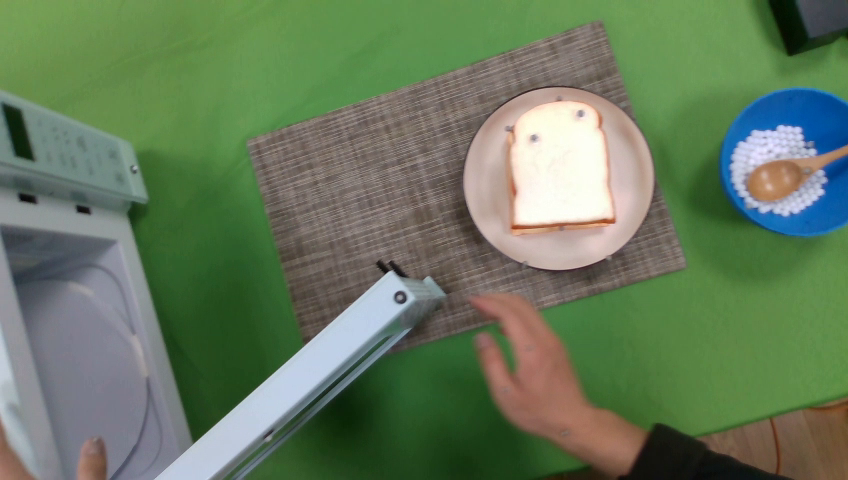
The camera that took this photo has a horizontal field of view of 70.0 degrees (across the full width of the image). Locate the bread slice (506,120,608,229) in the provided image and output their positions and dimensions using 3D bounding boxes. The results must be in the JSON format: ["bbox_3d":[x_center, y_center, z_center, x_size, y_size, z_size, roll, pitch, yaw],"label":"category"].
[{"bbox_3d":[0.141,-0.081,0.681,0.107,0.018,0.134,-8,85,6],"label":"bread slice"}]

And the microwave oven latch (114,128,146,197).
[{"bbox_3d":[-0.363,-0.093,0.731,0.030,0.029,0.079,-19,85,5],"label":"microwave oven latch"}]

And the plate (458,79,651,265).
[{"bbox_3d":[0.144,-0.074,0.681,0.207,0.039,0.207,0,87,7],"label":"plate"}]

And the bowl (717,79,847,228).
[{"bbox_3d":[0.376,-0.083,0.635,0.151,0.077,0.151,0,86,7],"label":"bowl"}]

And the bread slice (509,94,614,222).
[{"bbox_3d":[0.137,-0.085,0.624,0.104,0.019,0.131,-5,84,13],"label":"bread slice"}]

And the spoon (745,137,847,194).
[{"bbox_3d":[0.420,-0.097,0.599,0.193,0.022,0.041,-25,80,27],"label":"spoon"}]

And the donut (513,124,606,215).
[{"bbox_3d":[0.144,-0.075,0.649,0.099,0.048,0.099,0,87,1],"label":"donut"}]

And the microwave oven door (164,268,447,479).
[{"bbox_3d":[-0.132,0.154,0.586,0.356,0.244,0.039,-42,82,3],"label":"microwave oven door"}]

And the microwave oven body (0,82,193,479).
[{"bbox_3d":[-0.461,0.115,0.634,0.326,0.261,0.440,-19,85,5],"label":"microwave oven body"}]
